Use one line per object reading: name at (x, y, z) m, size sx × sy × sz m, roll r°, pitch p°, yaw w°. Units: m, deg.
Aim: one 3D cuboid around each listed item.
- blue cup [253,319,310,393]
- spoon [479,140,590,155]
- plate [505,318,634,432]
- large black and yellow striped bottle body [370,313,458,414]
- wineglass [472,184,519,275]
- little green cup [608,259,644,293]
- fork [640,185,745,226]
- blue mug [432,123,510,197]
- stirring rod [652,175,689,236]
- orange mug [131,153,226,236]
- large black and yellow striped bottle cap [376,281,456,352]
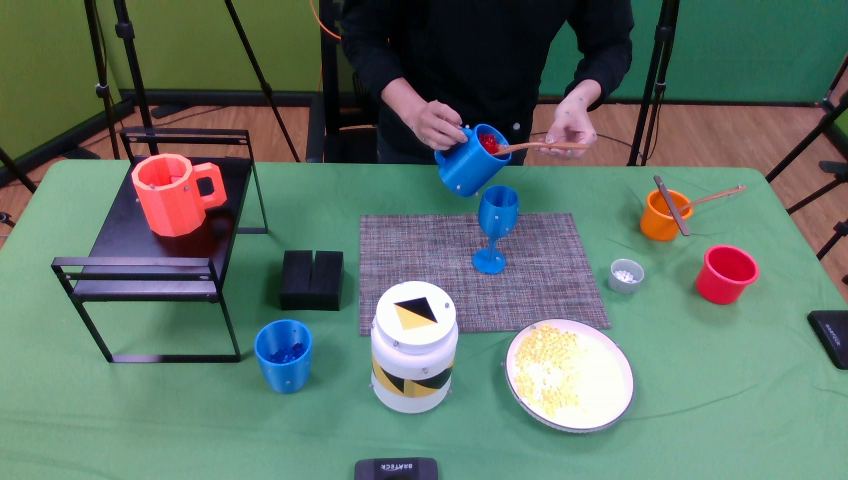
blue cup at (-0.217, 0.187, 0.943) m, size 0.093 × 0.101 × 0.092 m, roll 4°, pitch 45°, yaw -3°
spoon at (0.174, -0.154, 0.993) m, size 0.193 × 0.022 × 0.041 m, roll 1°, pitch 32°, yaw 31°
plate at (0.235, 0.221, 0.991) m, size 0.209 × 0.038 × 0.208 m, roll 2°, pitch 46°, yaw -2°
large black and yellow striped bottle body at (-0.017, 0.165, 0.924) m, size 0.131 × 0.185 × 0.130 m, roll 2°, pitch 46°, yaw -2°
wineglass at (0.129, -0.018, 1.113) m, size 0.074 × 0.173 × 0.073 m, roll 2°, pitch 46°, yaw -2°
little green cup at (0.379, 0.070, 1.147) m, size 0.061 × 0.039 × 0.061 m, roll 3°, pitch 45°, yaw -3°
fork at (0.534, -0.069, 1.215) m, size 0.207 × 0.019 × 0.028 m, roll -26°, pitch 27°, yaw 33°
blue mug at (0.071, -0.145, 1.043) m, size 0.117 × 0.106 × 0.082 m, roll 30°, pitch 43°, yaw -19°
stirring rod at (0.491, -0.072, 1.211) m, size 0.014 × 0.006 × 0.175 m, roll -1°, pitch 47°, yaw -6°
orange mug at (-0.375, -0.075, 0.937) m, size 0.126 × 0.101 × 0.083 m, roll -20°, pitch 50°, yaw -17°
large black and yellow striped bottle cap at (-0.011, 0.107, 0.863) m, size 0.115 × 0.019 × 0.114 m, roll 2°, pitch 47°, yaw -2°
